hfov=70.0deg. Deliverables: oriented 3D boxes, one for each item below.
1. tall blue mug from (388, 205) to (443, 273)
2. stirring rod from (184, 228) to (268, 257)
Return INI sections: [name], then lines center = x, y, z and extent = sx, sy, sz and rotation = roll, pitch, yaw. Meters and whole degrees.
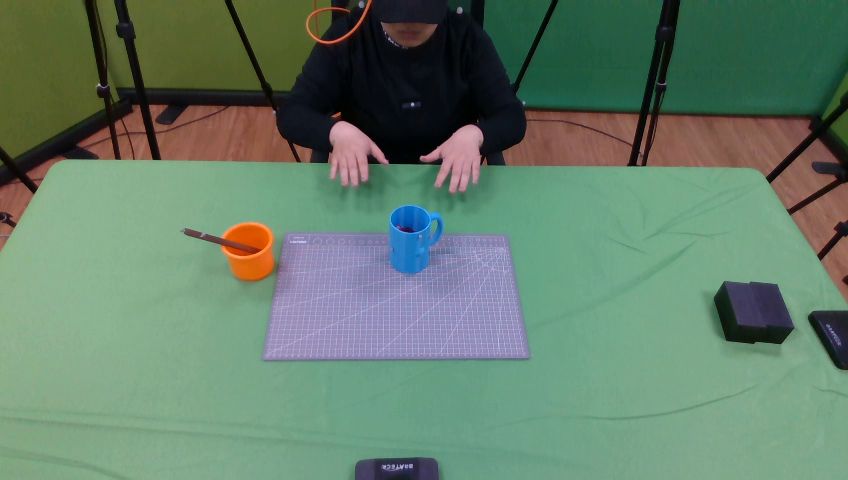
[tall blue mug]
center = -0.020, -0.010, 1.143
extent = 0.077, 0.108, 0.107
rotation = 23, 49, 18
[stirring rod]
center = -0.350, 0.006, 1.085
extent = 0.177, 0.006, 0.014
rotation = 22, 32, -50
